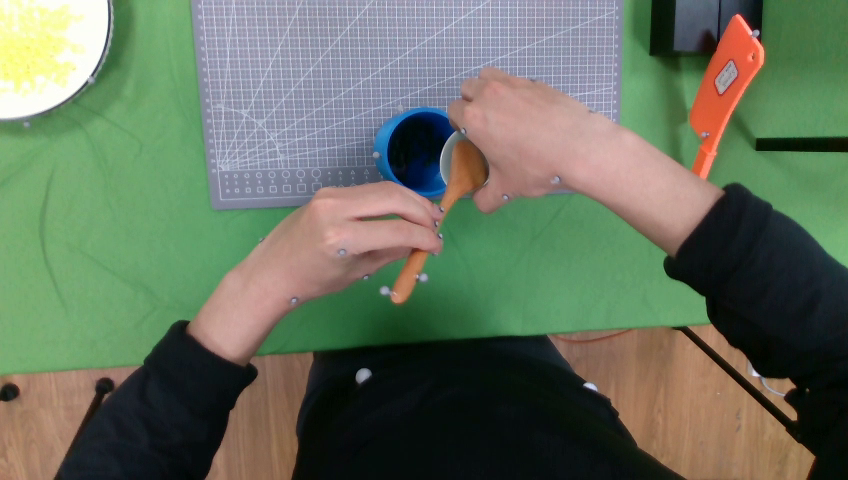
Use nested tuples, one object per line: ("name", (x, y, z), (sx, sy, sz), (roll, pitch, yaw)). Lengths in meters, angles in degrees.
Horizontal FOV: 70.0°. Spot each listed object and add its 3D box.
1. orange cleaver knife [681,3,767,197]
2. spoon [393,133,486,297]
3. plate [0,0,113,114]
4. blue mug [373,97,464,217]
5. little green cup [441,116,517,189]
("orange cleaver knife", (0.315, -0.145, 0.663), (0.012, 0.076, 0.213), (-5, 132, -9))
("spoon", (0.013, -0.024, 0.462), (0.042, 0.021, 0.192), (44, 46, -19))
("plate", (-0.390, -0.221, 0.547), (0.209, 0.038, 0.209), (-2, 102, -9))
("blue mug", (-0.007, -0.081, 0.606), (0.082, 0.105, 0.117), (5, 100, -11))
("little green cup", (0.050, -0.073, 0.529), (0.039, 0.061, 0.061), (11, 101, -52))
